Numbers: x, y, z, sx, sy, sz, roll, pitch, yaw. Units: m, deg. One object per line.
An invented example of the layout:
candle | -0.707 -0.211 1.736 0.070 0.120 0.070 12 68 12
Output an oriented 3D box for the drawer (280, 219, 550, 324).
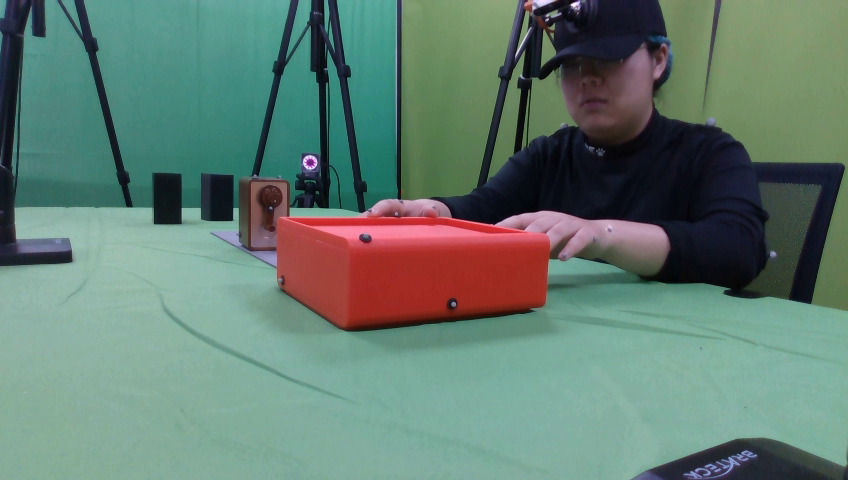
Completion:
drawer | -0.016 0.023 0.612 0.213 0.073 0.193 -3 9 -30

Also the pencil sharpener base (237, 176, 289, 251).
pencil sharpener base | -0.243 -0.040 0.911 0.061 0.107 0.076 -1 8 -28

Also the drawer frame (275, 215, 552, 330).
drawer frame | -0.017 0.022 0.610 0.215 0.082 0.200 -2 9 -31

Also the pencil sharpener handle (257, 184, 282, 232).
pencil sharpener handle | -0.220 -0.046 0.865 0.036 0.067 0.030 7 4 -29

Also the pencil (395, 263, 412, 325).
pencil | -0.021 0.052 0.614 0.012 0.012 0.194 3 12 0
